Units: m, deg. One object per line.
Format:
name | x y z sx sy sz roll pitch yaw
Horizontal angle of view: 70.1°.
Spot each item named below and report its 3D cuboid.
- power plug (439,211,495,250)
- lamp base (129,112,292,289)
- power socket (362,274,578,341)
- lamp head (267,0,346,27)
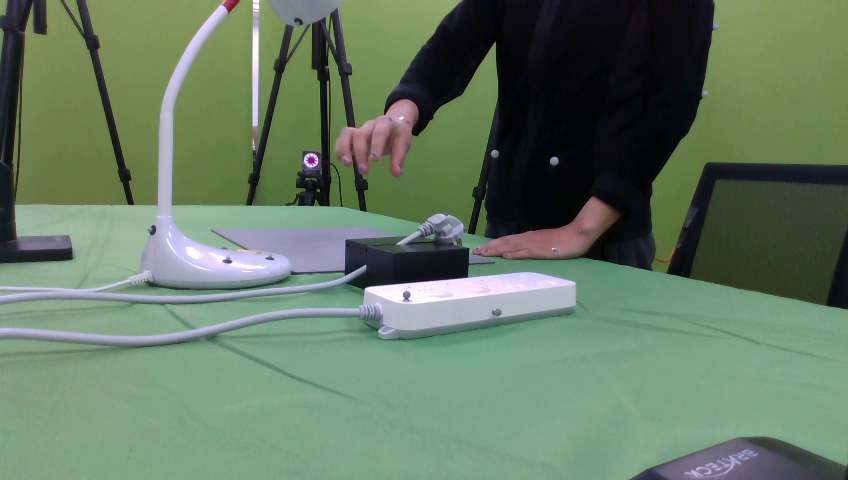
power plug | 0.048 -0.006 0.683 0.072 0.053 0.035 15 57 38
lamp base | -0.233 -0.045 0.658 0.160 0.180 0.180 7 11 29
power socket | 0.048 0.056 0.549 0.228 0.032 0.072 -3 8 -35
lamp head | -0.157 -0.326 0.701 0.112 0.112 0.123 6 -16 26
